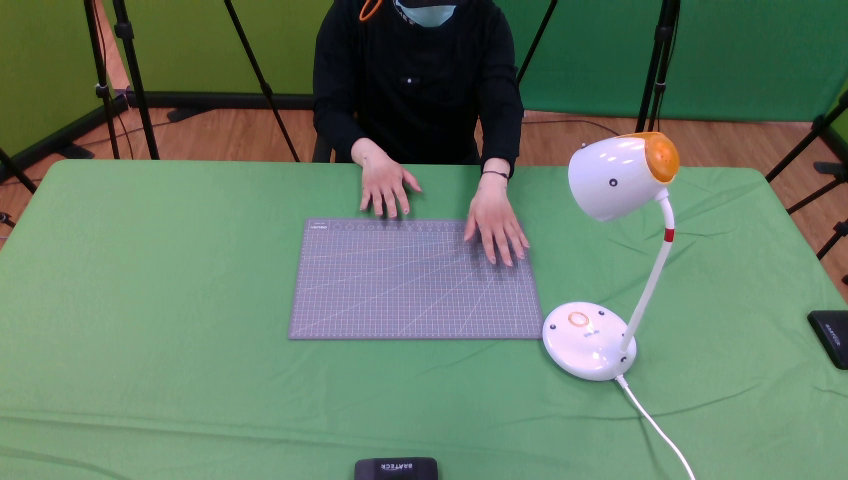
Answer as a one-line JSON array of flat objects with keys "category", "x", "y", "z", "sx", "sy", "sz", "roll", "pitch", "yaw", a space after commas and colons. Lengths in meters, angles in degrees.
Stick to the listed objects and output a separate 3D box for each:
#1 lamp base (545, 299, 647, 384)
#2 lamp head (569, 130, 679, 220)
[{"category": "lamp base", "x": 0.299, "y": 0.124, "z": 0.984, "sx": 0.161, "sy": 0.181, "sz": 0.178, "roll": -23, "pitch": 55, "yaw": -23}, {"category": "lamp head", "x": 0.272, "y": -0.090, "z": 0.798, "sx": 0.113, "sy": 0.122, "sz": 0.112, "roll": 7, "pitch": 78, "yaw": -33}]
